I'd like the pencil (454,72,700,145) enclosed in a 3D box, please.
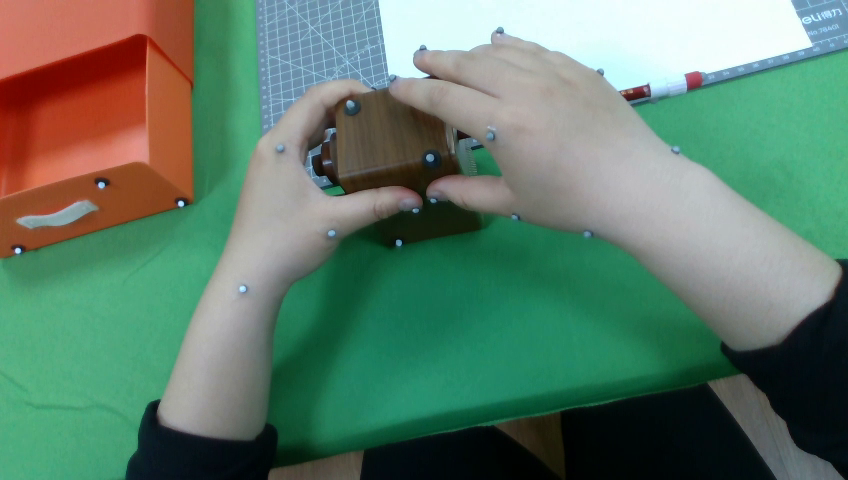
[{"bbox_3d":[0.061,-0.070,0.356,0.194,0.012,0.012,-12,66,9],"label":"pencil"}]

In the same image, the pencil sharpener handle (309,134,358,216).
[{"bbox_3d":[-0.062,-0.037,0.393,0.030,0.068,0.035,-12,58,11],"label":"pencil sharpener handle"}]

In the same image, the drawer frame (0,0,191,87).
[{"bbox_3d":[-0.321,-0.211,0.558,0.201,0.083,0.211,-15,65,9],"label":"drawer frame"}]

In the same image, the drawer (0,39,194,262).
[{"bbox_3d":[-0.300,-0.105,0.512,0.194,0.074,0.210,-15,65,9],"label":"drawer"}]

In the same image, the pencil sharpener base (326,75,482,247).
[{"bbox_3d":[-0.010,-0.045,0.396,0.076,0.108,0.061,-12,66,11],"label":"pencil sharpener base"}]
